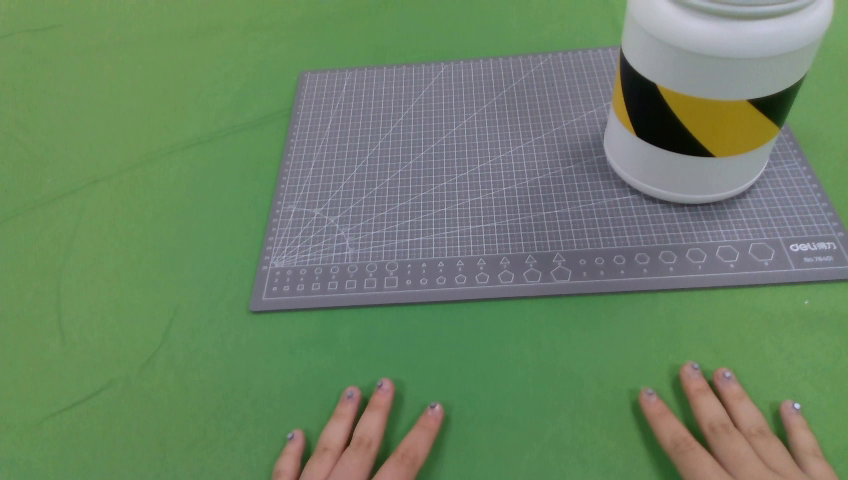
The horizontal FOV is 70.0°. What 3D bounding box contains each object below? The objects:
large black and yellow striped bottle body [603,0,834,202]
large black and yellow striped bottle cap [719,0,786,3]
[{"bbox_3d":[0.209,-0.133,0.445,0.131,0.186,0.129,-4,51,5],"label":"large black and yellow striped bottle body"},{"bbox_3d":[0.199,-0.186,0.380,0.115,0.019,0.114,-2,51,3],"label":"large black and yellow striped bottle cap"}]
